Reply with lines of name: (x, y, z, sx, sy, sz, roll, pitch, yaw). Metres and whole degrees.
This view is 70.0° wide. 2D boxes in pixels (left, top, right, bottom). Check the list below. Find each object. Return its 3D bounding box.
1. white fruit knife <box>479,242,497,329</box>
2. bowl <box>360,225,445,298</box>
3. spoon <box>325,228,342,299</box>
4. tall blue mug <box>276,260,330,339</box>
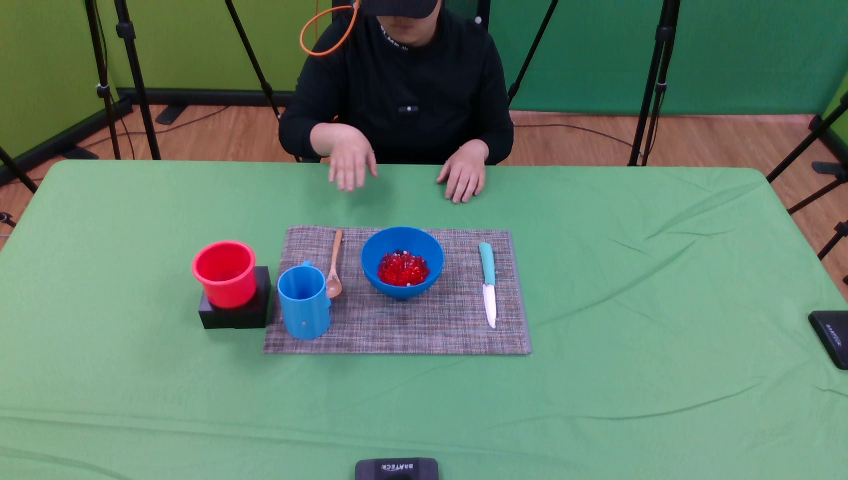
white fruit knife: (0.122, 0.080, 1.130, 0.027, 0.016, 0.206, -19, 45, 19)
bowl: (-0.040, 0.053, 1.099, 0.151, 0.077, 0.150, 2, 46, -2)
spoon: (-0.168, 0.041, 1.140, 0.041, 0.022, 0.192, -10, 46, 10)
tall blue mug: (-0.208, 0.094, 1.025, 0.078, 0.108, 0.106, -21, 51, -21)
